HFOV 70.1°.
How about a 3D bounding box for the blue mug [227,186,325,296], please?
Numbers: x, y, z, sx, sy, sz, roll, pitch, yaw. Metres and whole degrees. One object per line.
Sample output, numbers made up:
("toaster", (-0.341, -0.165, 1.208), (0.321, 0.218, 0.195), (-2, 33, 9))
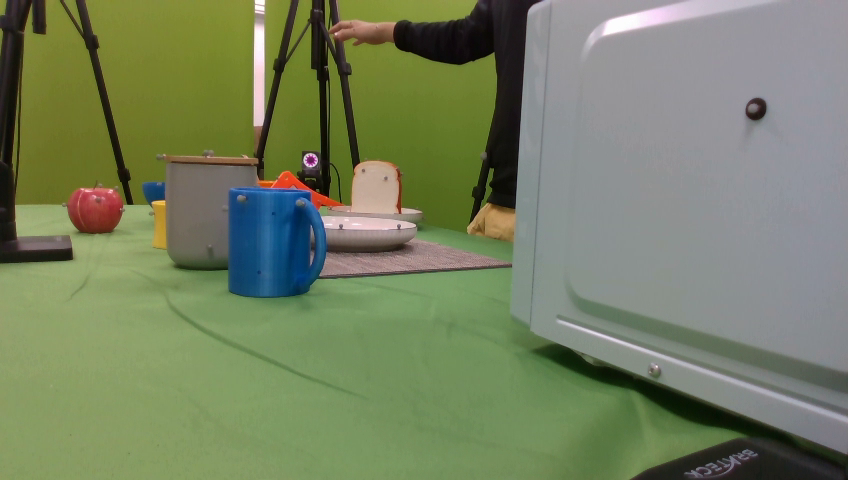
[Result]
("blue mug", (-0.147, 0.000, 0.618), (0.116, 0.106, 0.083), (7, 9, 32))

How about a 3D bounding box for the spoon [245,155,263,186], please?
("spoon", (-0.421, -0.150, 1.540), (0.042, 0.193, 0.021), (-5, -35, -37))

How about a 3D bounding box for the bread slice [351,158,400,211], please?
("bread slice", (-0.102, -0.104, 1.273), (0.107, 0.134, 0.018), (-1, 4, 4))

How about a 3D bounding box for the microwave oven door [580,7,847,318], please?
("microwave oven door", (0.295, -0.067, 0.570), (0.358, 0.243, 0.039), (-3, 8, -31))

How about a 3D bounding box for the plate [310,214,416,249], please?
("plate", (-0.117, -0.014, 0.967), (0.208, 0.039, 0.207), (2, 7, 0))

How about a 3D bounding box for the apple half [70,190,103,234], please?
("apple half", (-0.552, -0.047, 1.009), (0.053, 0.074, 0.081), (-1, 9, 26))

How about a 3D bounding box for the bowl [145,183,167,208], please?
("bowl", (-0.459, -0.068, 1.175), (0.151, 0.077, 0.151), (3, 7, 0))

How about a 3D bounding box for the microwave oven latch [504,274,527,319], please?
("microwave oven latch", (0.100, 0.041, 0.471), (0.079, 0.029, 0.030), (-1, 8, -28))

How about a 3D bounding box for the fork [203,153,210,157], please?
("fork", (-0.480, -0.136, 1.412), (0.028, 0.018, 0.207), (0, -34, -1))

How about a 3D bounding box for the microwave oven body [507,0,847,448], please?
("microwave oven body", (0.331, -0.042, 0.426), (0.444, 0.260, 0.324), (-2, 8, -31))

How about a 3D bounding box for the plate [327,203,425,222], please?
("plate", (-0.102, -0.053, 1.299), (0.209, 0.038, 0.209), (2, 7, 0))

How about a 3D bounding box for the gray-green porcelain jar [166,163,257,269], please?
("gray-green porcelain jar", (-0.263, -0.031, 0.754), (0.106, 0.126, 0.106), (2, 7, 0))

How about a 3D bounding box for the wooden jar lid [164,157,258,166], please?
("wooden jar lid", (-0.261, -0.093, 0.746), (0.108, 0.020, 0.108), (0, 9, 0))

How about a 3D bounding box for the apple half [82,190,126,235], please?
("apple half", (-0.516, -0.046, 0.994), (0.032, 0.081, 0.081), (0, 6, 26))

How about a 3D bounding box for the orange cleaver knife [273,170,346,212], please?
("orange cleaver knife", (-0.253, -0.089, 1.368), (0.212, 0.077, 0.012), (26, -7, -42))

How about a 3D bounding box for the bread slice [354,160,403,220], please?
("bread slice", (-0.095, -0.110, 1.324), (0.105, 0.131, 0.019), (5, 2, 5))

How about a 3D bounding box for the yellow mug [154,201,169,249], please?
("yellow mug", (-0.338, -0.022, 0.899), (0.130, 0.064, 0.100), (8, 9, 34))

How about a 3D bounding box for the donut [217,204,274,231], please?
("donut", (-0.317, -0.038, 1.080), (0.099, 0.048, 0.099), (3, 7, 0))
